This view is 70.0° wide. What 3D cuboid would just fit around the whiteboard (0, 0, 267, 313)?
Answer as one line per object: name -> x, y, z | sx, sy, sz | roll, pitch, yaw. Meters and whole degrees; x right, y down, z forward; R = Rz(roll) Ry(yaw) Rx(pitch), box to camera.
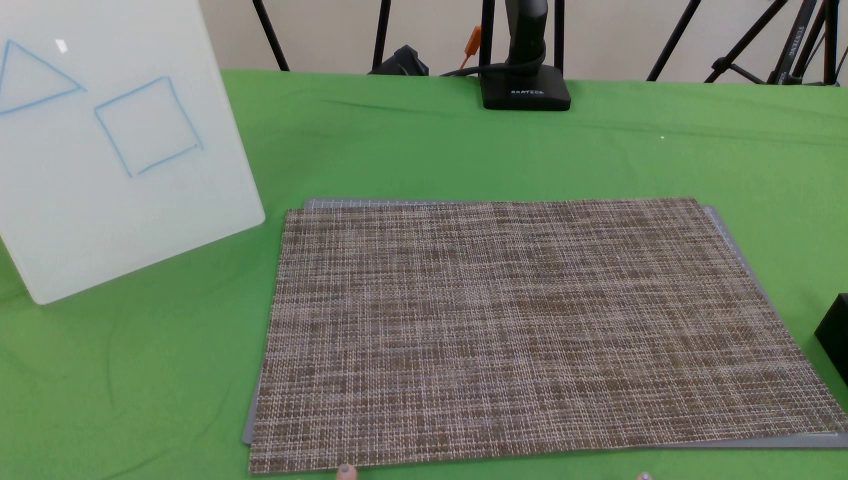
whiteboard -> -0.312, -0.129, 0.567 | 0.217, 0.307, 0.142 | -24, 27, -27
